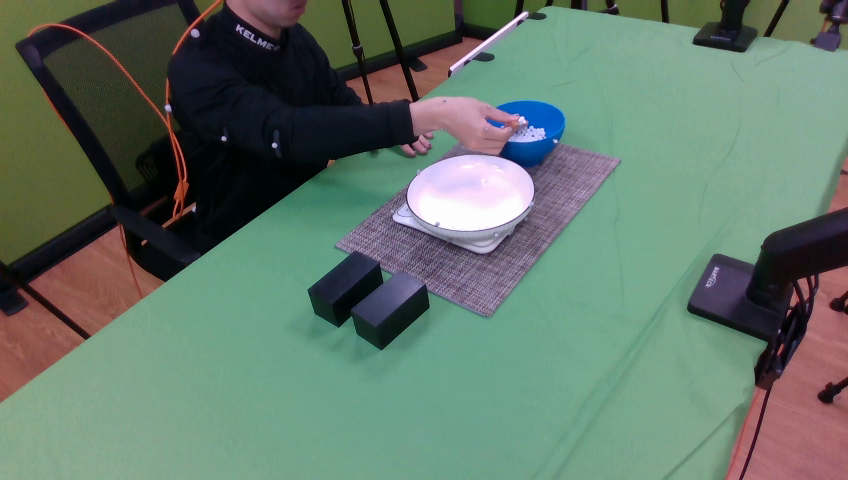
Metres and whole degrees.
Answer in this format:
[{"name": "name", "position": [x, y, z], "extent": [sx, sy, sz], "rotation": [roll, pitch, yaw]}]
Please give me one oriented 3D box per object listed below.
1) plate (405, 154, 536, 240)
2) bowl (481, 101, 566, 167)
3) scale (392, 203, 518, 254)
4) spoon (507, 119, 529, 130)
[{"name": "plate", "position": [0.075, -0.067, 0.973], "extent": [0.209, 0.038, 0.208], "rotation": [-4, 41, 4]}, {"name": "bowl", "position": [0.183, -0.186, 1.111], "extent": [0.151, 0.077, 0.150], "rotation": [-4, 40, 4]}, {"name": "scale", "position": [0.060, -0.050, 1.006], "extent": [0.199, 0.032, 0.149], "rotation": [22, 48, 30]}, {"name": "spoon", "position": [0.159, -0.202, 1.049], "extent": [0.041, 0.021, 0.194], "rotation": [-7, 7, 12]}]
